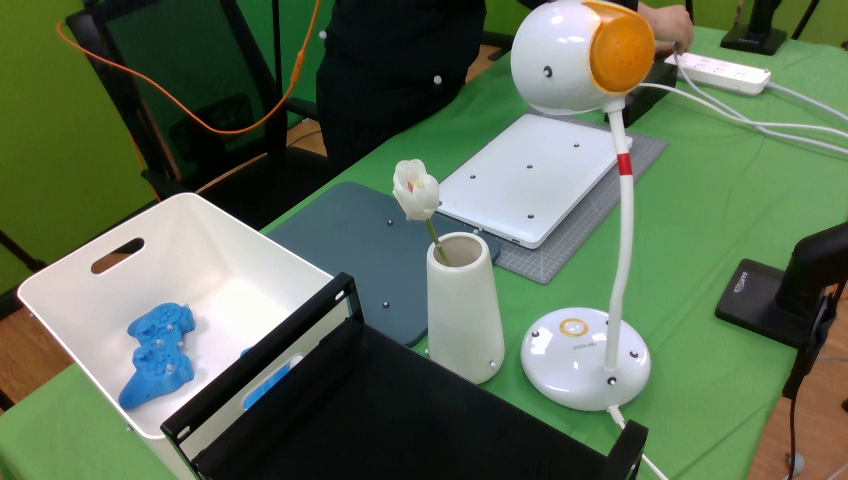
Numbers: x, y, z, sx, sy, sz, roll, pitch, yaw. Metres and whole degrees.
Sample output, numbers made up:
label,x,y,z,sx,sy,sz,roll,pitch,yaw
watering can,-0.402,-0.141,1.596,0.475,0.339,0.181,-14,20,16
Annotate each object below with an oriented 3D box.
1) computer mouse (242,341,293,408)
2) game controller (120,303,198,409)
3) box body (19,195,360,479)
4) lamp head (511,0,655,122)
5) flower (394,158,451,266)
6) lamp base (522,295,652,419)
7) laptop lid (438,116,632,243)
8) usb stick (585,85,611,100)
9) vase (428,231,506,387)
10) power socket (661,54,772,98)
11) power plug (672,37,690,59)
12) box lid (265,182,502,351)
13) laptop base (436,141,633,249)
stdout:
label,x,y,z,sx,sy,sz,roll,pitch,yaw
computer mouse,-0.200,0.177,0.776,0.063,0.041,0.116,-11,43,-8
game controller,-0.364,0.149,0.828,0.097,0.052,0.154,-12,41,-10
box body,-0.288,0.118,0.772,0.361,0.161,0.255,26,50,33
lamp head,0.155,-0.168,0.564,0.113,0.113,0.122,-18,23,-12
flower,0.028,0.035,0.664,0.043,0.364,0.038,36,73,30
lamp base,0.201,0.095,0.710,0.161,0.181,0.178,-16,43,-10
laptop lid,0.190,-0.126,1.082,0.239,0.013,0.358,23,48,35
usb stick,0.355,-0.305,1.253,0.027,0.021,0.058,-6,3,-38
vase,0.050,0.087,0.728,0.098,0.201,0.097,-3,40,3
power socket,0.618,-0.353,1.291,0.225,0.033,0.072,27,53,34
power plug,0.530,-0.398,1.273,0.073,0.053,0.035,-38,54,-18
box lid,-0.087,0.023,0.971,0.368,0.015,0.264,23,49,31
laptop base,0.193,-0.116,1.087,0.233,0.023,0.355,21,47,34
